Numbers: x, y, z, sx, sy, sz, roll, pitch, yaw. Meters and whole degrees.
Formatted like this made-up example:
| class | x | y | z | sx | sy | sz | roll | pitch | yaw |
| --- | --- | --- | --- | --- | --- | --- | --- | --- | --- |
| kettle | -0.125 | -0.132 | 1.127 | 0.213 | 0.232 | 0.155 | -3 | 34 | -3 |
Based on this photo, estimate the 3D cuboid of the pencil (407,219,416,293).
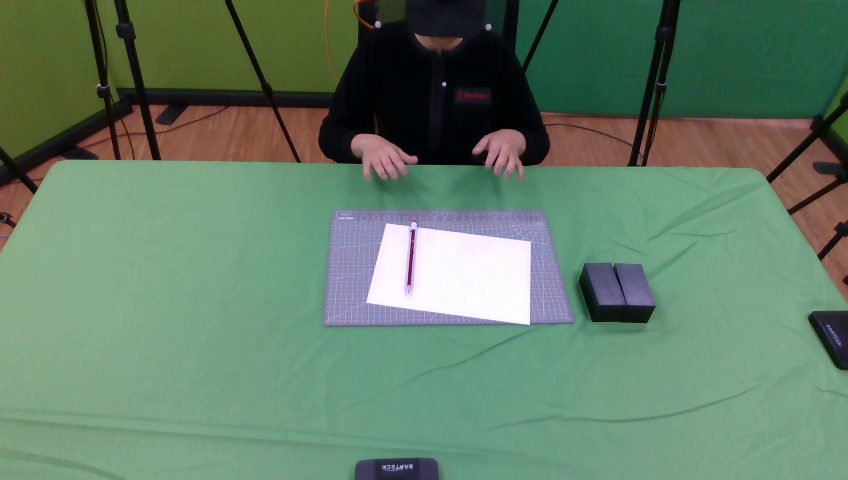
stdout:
| class | x | y | z | sx | sy | sz | roll | pitch | yaw |
| --- | --- | --- | --- | --- | --- | --- | --- | --- | --- |
| pencil | -0.025 | 0.028 | 1.172 | 0.012 | 0.012 | 0.193 | 3 | 46 | 0 |
